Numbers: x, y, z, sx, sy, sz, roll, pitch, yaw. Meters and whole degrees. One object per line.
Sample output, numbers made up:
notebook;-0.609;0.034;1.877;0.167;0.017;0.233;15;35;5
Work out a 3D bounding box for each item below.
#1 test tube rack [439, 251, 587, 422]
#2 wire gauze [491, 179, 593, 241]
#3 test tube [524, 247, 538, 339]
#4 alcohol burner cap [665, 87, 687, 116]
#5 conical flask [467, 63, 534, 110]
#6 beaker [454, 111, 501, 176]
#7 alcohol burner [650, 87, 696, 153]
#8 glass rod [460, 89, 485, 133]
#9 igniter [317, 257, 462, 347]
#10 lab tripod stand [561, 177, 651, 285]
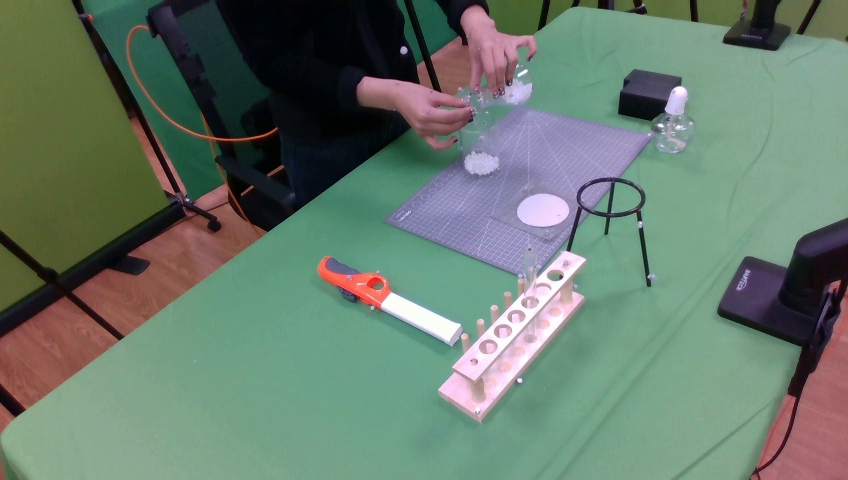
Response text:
test tube rack;0.118;0.111;0.780;0.066;0.085;0.243;26;51;34
wire gauze;0.198;-0.051;1.014;0.125;0.011;0.120;-38;48;-27
test tube;0.133;0.070;0.749;0.017;0.151;0.017;-5;38;4
alcohol burner cap;0.445;-0.244;1.060;0.034;0.048;0.033;-2;45;3
conical flask;0.131;-0.263;1.069;0.122;0.075;0.074;-27;43;-33
beaker;0.101;-0.174;1.106;0.084;0.101;0.073;-5;40;6
alcohol burner;0.448;-0.217;1.084;0.078;0.119;0.077;-6;38;5
glass rod;0.085;-0.217;1.031;0.008;0.201;0.008;-2;80;15
igniter;-0.061;0.086;0.891;0.274;0.025;0.057;23;59;33
lab tripod stand;0.263;-0.014;0.864;0.148;0.132;0.147;-7;38;6
